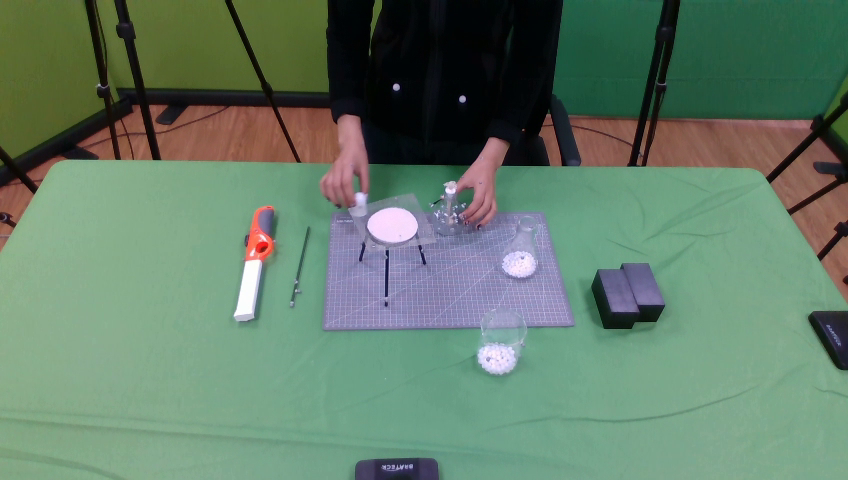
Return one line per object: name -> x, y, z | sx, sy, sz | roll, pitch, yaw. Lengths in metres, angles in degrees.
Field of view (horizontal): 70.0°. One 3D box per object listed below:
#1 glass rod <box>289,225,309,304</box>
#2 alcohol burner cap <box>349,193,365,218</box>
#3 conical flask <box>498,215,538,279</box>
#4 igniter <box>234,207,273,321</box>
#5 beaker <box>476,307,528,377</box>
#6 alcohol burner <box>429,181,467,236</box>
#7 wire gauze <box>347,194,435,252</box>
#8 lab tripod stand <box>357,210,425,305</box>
glass rod -> -0.235, 0.042, 1.149 | 0.008, 0.008, 0.198 | 3, 46, -1
alcohol burner cap -> -0.134, -0.071, 1.197 | 0.034, 0.048, 0.033 | 0, 42, 0
conical flask -> 0.183, 0.010, 1.132 | 0.075, 0.122, 0.075 | 2, 46, -2
igniter -> -0.318, 0.035, 1.137 | 0.057, 0.025, 0.274 | -8, 46, 3
beaker -> 0.122, 0.171, 0.991 | 0.084, 0.101, 0.073 | -34, 56, -31
alcohol burner -> 0.048, -0.066, 1.201 | 0.078, 0.120, 0.077 | 1, 46, -1
wire gauze -> -0.058, -0.029, 1.048 | 0.125, 0.011, 0.120 | -12, 48, -16
lab tripod stand -> -0.060, 0.020, 1.094 | 0.148, 0.132, 0.147 | 3, 44, -2
